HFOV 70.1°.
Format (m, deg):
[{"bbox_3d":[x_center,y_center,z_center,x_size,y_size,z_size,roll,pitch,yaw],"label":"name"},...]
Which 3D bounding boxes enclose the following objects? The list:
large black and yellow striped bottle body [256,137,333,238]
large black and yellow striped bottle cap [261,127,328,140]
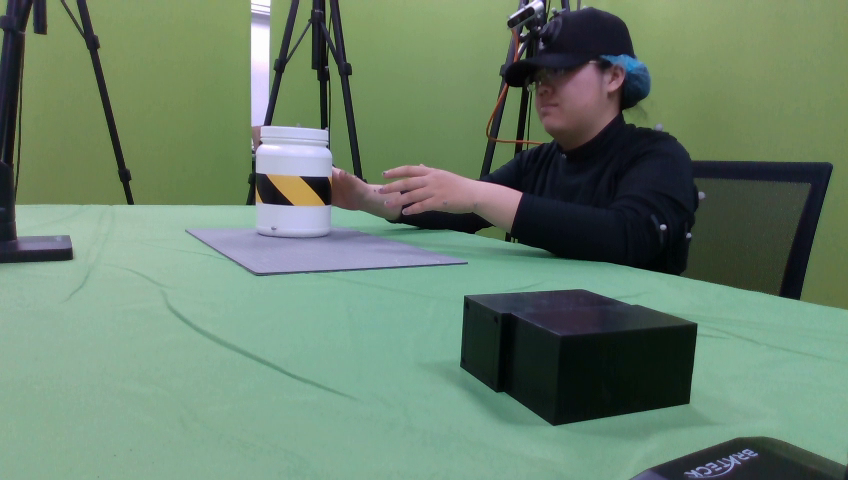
[{"bbox_3d":[-0.228,-0.102,1.063,0.131,0.184,0.130,3,8,0],"label":"large black and yellow striped bottle body"},{"bbox_3d":[-0.224,-0.184,1.051,0.115,0.019,0.115,2,7,0],"label":"large black and yellow striped bottle cap"}]
